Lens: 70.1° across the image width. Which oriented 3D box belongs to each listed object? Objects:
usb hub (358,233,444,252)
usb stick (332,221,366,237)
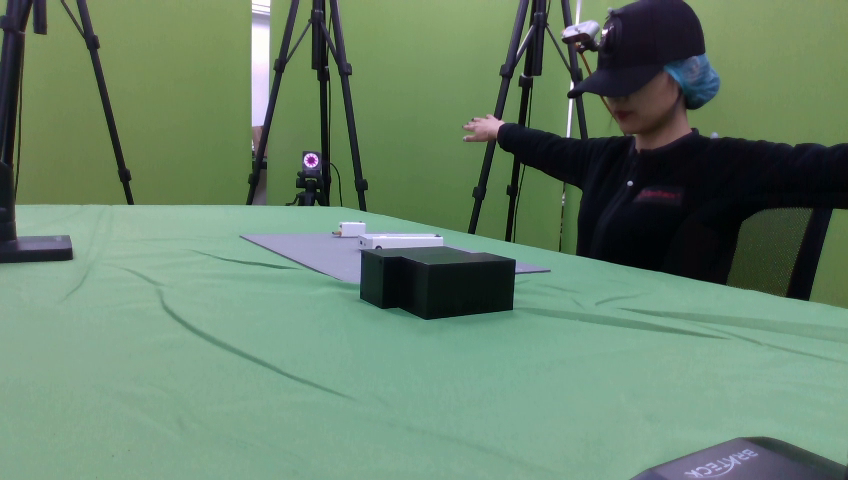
[{"bbox_3d":[-0.035,0.003,0.928,0.126,0.025,0.049,-1,8,-23],"label":"usb hub"},{"bbox_3d":[-0.134,-0.020,1.070,0.059,0.027,0.021,-4,10,-26],"label":"usb stick"}]
